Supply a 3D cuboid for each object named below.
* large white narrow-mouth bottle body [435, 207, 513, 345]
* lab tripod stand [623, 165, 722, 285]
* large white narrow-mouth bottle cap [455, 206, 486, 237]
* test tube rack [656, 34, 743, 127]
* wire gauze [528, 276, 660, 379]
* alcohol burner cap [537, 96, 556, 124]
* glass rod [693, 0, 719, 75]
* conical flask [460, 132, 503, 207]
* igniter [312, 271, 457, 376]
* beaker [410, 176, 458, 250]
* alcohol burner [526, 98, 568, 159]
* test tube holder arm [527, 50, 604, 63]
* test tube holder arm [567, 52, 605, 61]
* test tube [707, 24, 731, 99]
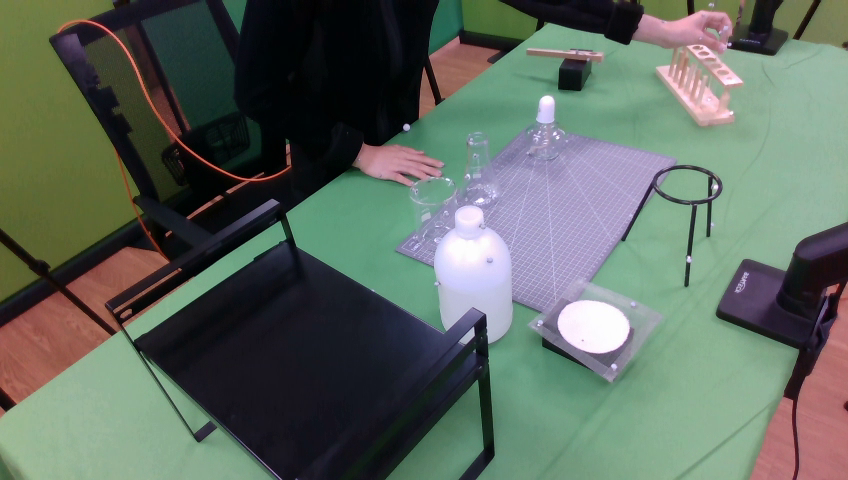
[{"bbox_3d":[0.065,0.041,0.791,0.102,0.195,0.101,-4,40,4],"label":"large white narrow-mouth bottle body"},{"bbox_3d":[0.365,-0.030,0.874,0.148,0.132,0.147,-6,41,6],"label":"lab tripod stand"},{"bbox_3d":[0.057,-0.023,0.734,0.038,0.024,0.037,-4,40,4],"label":"large white narrow-mouth bottle cap"},{"bbox_3d":[0.554,-0.331,1.233,0.067,0.085,0.241,-7,40,2],"label":"test tube rack"},{"bbox_3d":[0.214,0.103,0.763,0.124,0.011,0.122,30,52,35],"label":"wire gauze"},{"bbox_3d":[0.223,-0.237,1.095,0.034,0.048,0.033,-2,37,2],"label":"alcohol burner cap"},{"bbox_3d":[0.561,-0.401,1.214,0.008,0.200,0.008,-1,49,2],"label":"glass rod"},{"bbox_3d":[0.096,-0.123,1.030,0.075,0.122,0.075,-4,40,4],"label":"conical flask"},{"bbox_3d":[-0.067,0.111,0.859,0.274,0.025,0.057,27,61,34],"label":"igniter"},{"bbox_3d":[0.022,-0.041,0.963,0.073,0.101,0.084,28,51,34],"label":"beaker"},{"bbox_3d":[0.228,-0.210,1.118,0.078,0.119,0.077,-5,43,5],"label":"alcohol burner"},{"bbox_3d":[0.312,-0.409,1.344,0.177,0.015,0.013,15,38,30],"label":"test tube holder arm"},{"bbox_3d":[0.352,-0.401,1.325,0.087,0.015,0.010,15,39,30],"label":"test tube holder arm"},{"bbox_3d":[0.569,-0.341,1.166,0.017,0.151,0.017,-4,41,4],"label":"test tube"}]
